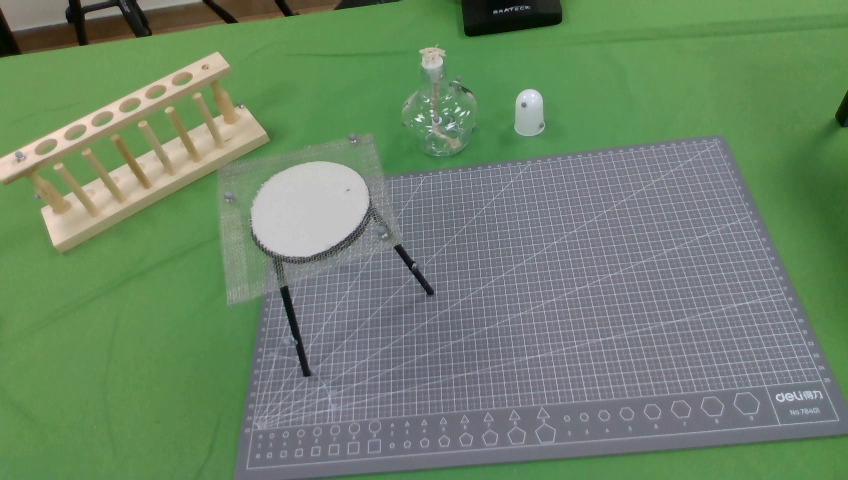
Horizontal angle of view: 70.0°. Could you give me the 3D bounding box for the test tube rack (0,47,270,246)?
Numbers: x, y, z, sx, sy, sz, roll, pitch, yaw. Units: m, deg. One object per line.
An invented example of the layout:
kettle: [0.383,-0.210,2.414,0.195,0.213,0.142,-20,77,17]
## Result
test tube rack: [-0.295,-0.100,0.634,0.242,0.086,0.066,-32,56,-14]

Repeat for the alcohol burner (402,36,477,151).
alcohol burner: [0.014,-0.148,0.602,0.078,0.120,0.077,-5,51,6]

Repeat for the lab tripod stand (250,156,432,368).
lab tripod stand: [-0.073,0.014,0.481,0.148,0.133,0.147,-4,55,6]

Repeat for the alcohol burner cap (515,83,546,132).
alcohol burner cap: [0.110,-0.139,0.625,0.034,0.048,0.033,-5,54,8]

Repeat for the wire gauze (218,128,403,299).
wire gauze: [-0.084,-0.027,0.429,0.121,0.011,0.123,-16,54,-2]
